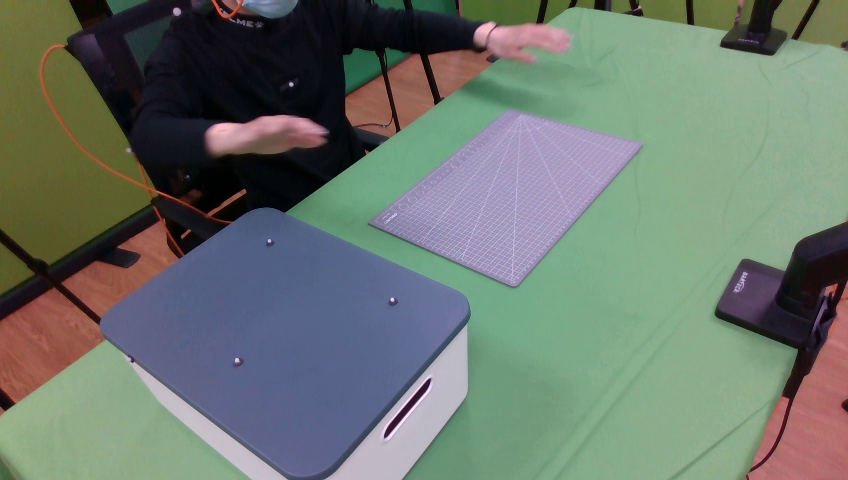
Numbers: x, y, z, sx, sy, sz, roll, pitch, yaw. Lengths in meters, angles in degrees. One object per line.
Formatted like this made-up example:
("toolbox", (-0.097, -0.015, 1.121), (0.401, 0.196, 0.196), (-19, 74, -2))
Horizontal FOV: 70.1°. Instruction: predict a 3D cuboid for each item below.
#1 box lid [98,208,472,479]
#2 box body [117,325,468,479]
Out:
("box lid", (-0.161, 0.083, 0.675), (0.368, 0.015, 0.264), (22, 48, 30))
("box body", (-0.151, 0.140, 0.721), (0.361, 0.161, 0.255), (23, 49, 30))
